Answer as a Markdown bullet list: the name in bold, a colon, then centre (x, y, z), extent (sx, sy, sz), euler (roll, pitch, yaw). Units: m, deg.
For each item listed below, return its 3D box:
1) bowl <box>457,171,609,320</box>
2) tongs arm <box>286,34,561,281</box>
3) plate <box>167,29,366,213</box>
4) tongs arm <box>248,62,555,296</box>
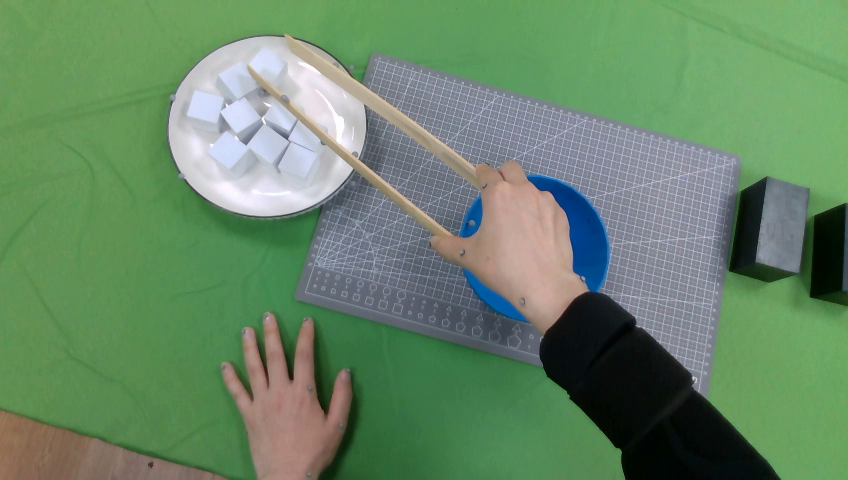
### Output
- **bowl**: centre (0.104, 0.012, 0.625), extent (0.151, 0.077, 0.150), euler (1, 77, -5)
- **tongs arm**: centre (-0.015, -0.094, 0.566), extent (0.028, 0.028, 0.384), euler (-39, 64, -19)
- **plate**: centre (-0.166, -0.126, 0.654), extent (0.208, 0.039, 0.206), euler (1, 77, -4)
- **tongs arm**: centre (-0.038, -0.073, 0.558), extent (0.051, 0.027, 0.381), euler (-39, 64, -15)
